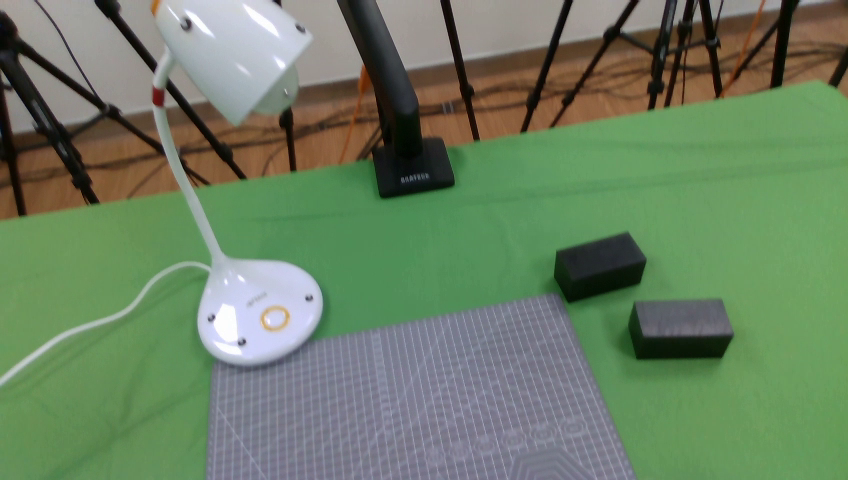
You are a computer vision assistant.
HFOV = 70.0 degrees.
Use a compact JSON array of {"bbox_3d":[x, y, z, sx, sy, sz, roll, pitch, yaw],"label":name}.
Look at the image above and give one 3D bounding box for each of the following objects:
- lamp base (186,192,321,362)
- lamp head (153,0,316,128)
[{"bbox_3d":[-0.231,0.033,0.744,0.178,0.182,0.160,24,53,29],"label":"lamp base"},{"bbox_3d":[-0.180,-0.178,0.549,0.123,0.112,0.111,37,50,-16],"label":"lamp head"}]
